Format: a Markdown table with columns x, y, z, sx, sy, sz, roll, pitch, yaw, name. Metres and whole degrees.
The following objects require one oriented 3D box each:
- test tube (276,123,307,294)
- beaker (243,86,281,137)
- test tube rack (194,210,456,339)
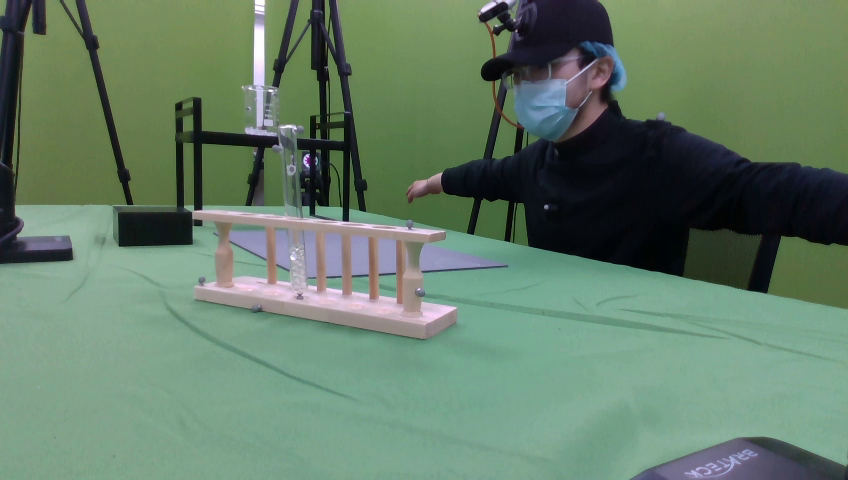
| x | y | z | sx | sy | sz | roll | pitch | yaw | name |
| --- | --- | --- | --- | --- | --- | --- | --- | --- | --- |
| -0.116 | -0.027 | 0.532 | 0.017 | 0.150 | 0.017 | -3 | 7 | 1 | test tube |
| -0.338 | -0.265 | 1.253 | 0.073 | 0.100 | 0.084 | 8 | 9 | 38 | beaker |
| -0.093 | 0.023 | 0.546 | 0.241 | 0.085 | 0.067 | 6 | 8 | 25 | test tube rack |
